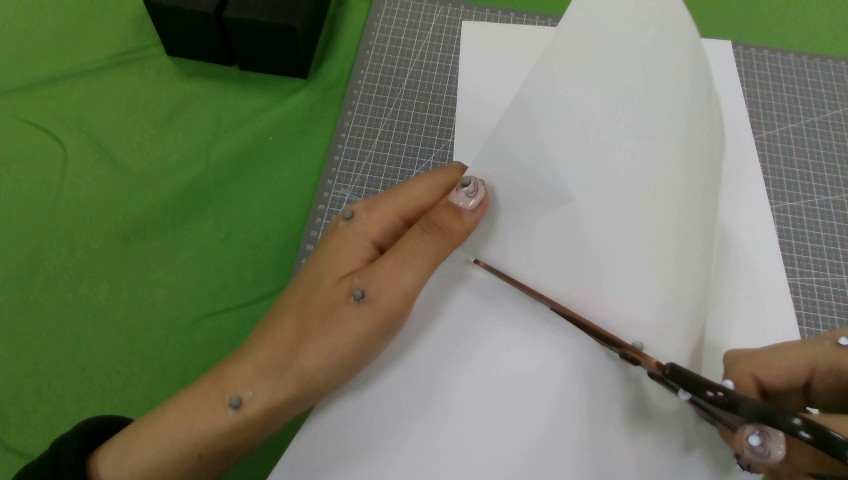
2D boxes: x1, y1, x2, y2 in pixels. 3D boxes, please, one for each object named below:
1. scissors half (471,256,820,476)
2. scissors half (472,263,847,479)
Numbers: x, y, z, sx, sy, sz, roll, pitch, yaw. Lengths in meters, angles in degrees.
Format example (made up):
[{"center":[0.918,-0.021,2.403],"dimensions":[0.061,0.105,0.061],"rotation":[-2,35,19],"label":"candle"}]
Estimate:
[{"center":[0.095,0.052,0.258],"dimensions":[0.175,0.040,0.013],"rotation":[31,86,-7],"label":"scissors half"},{"center":[0.093,0.048,0.235],"dimensions":[0.174,0.040,0.013],"rotation":[28,80,23],"label":"scissors half"}]
